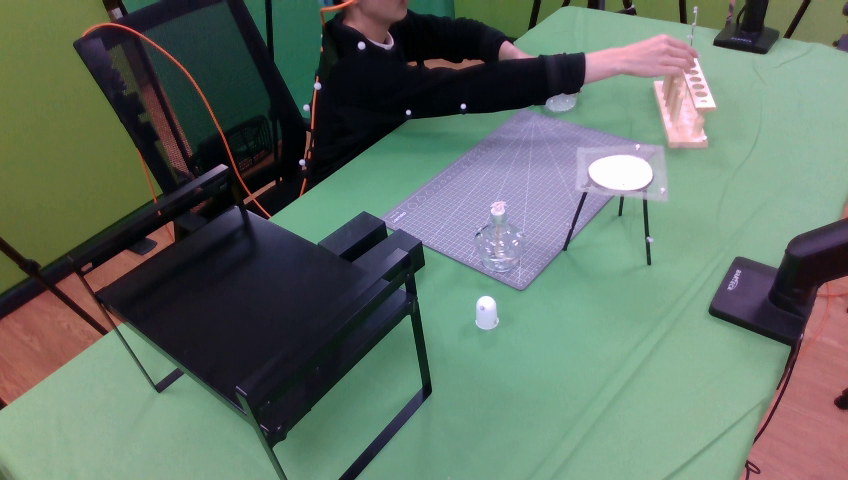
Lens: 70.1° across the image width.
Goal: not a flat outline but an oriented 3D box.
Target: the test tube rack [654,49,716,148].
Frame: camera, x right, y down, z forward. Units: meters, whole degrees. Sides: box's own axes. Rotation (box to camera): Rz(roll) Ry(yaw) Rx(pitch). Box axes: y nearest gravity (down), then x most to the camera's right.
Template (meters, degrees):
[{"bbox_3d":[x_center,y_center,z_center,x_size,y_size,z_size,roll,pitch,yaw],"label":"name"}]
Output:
[{"bbox_3d":[0.502,-0.281,1.176,0.066,0.085,0.241,2,42,11],"label":"test tube rack"}]

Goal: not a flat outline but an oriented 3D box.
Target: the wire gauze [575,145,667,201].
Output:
[{"bbox_3d":[0.279,-0.100,0.861,0.124,0.011,0.121,5,43,14],"label":"wire gauze"}]

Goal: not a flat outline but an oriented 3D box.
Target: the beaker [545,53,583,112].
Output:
[{"bbox_3d":[0.287,-0.324,1.245,0.074,0.101,0.084,9,48,15],"label":"beaker"}]

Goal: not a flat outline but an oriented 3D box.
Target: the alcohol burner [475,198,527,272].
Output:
[{"bbox_3d":[0.113,-0.012,0.897,0.078,0.119,0.077,-6,40,6],"label":"alcohol burner"}]

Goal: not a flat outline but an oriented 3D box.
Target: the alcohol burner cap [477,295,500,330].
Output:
[{"bbox_3d":[0.089,0.097,0.833,0.034,0.048,0.033,-4,42,4],"label":"alcohol burner cap"}]

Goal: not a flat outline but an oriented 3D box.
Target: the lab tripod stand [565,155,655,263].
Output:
[{"bbox_3d":[0.285,-0.046,0.901,0.148,0.132,0.147,-5,42,5],"label":"lab tripod stand"}]

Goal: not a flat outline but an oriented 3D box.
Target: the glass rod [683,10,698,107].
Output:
[{"bbox_3d":[0.501,-0.336,1.139,0.008,0.201,0.008,-8,43,8],"label":"glass rod"}]
